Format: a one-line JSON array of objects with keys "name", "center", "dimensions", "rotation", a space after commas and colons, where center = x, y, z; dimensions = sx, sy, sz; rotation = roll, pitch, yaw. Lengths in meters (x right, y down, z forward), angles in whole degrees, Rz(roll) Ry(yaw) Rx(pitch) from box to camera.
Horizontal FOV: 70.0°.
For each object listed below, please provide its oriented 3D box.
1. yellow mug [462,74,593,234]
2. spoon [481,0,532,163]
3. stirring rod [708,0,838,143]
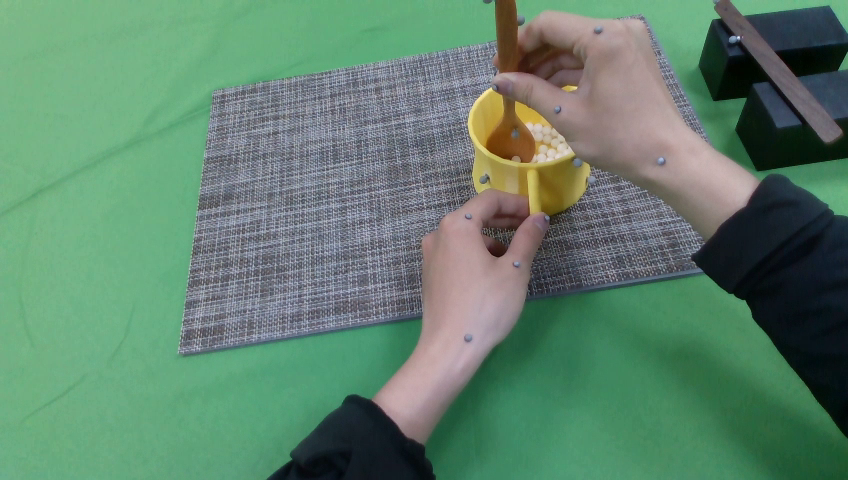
[{"name": "yellow mug", "center": [0.083, -0.065, 0.485], "dimensions": [0.100, 0.064, 0.129], "rotation": [-3, 57, 7]}, {"name": "spoon", "center": [0.057, -0.102, 0.428], "dimensions": [0.041, 0.195, 0.021], "rotation": [3, 71, 10]}, {"name": "stirring rod", "center": [0.275, -0.142, 0.486], "dimensions": [0.014, 0.006, 0.174], "rotation": [-36, 51, 27]}]
